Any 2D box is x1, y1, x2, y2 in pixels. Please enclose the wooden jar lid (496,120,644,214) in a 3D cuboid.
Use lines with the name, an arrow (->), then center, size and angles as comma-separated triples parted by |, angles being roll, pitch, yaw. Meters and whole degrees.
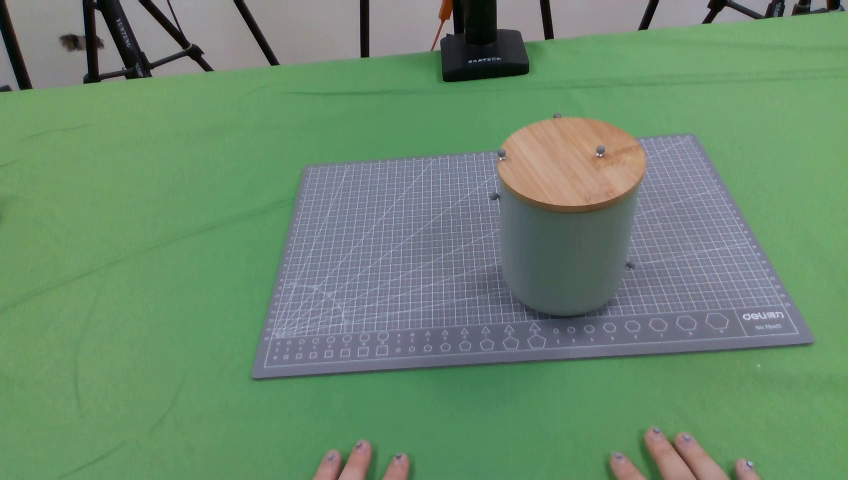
wooden jar lid -> 0.109, -0.053, 0.457 | 0.108, 0.021, 0.107 | -5, 44, 5

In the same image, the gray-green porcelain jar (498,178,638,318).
gray-green porcelain jar -> 0.115, -0.007, 0.499 | 0.106, 0.128, 0.105 | -4, 42, 4
